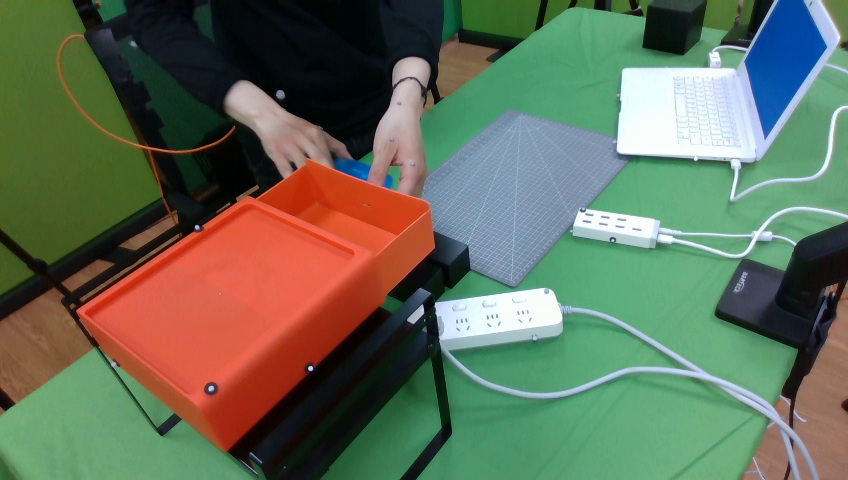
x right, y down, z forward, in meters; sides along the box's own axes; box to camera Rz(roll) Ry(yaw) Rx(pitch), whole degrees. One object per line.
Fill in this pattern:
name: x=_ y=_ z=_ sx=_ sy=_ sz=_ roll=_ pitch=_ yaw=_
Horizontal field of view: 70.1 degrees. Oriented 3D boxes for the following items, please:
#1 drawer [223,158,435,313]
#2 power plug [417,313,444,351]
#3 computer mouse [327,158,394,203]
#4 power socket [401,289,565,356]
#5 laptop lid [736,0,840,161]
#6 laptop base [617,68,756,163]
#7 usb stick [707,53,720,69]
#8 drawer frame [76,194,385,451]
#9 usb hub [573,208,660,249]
drawer: x=-0.126 y=0.012 z=0.656 sx=0.193 sy=0.073 sz=0.212 roll=23 pitch=49 yaw=30
power plug: x=0.007 y=0.127 z=0.786 sx=0.035 sy=0.053 sz=0.072 roll=1 pitch=43 yaw=9
computer mouse: x=-0.106 y=-0.091 z=0.917 sx=0.117 sy=0.041 sz=0.063 roll=15 pitch=44 yaw=14
power socket: x=0.081 y=0.112 z=0.822 sx=0.227 sy=0.033 sz=0.072 roll=-7 pitch=41 yaw=0
laptop lid: x=0.641 y=-0.327 z=1.090 sx=0.013 sy=0.242 sz=0.356 roll=17 pitch=43 yaw=5
laptop base: x=0.509 y=-0.255 z=1.201 sx=0.234 sy=0.023 sz=0.353 roll=4 pitch=41 yaw=16
usb stick: x=0.629 y=-0.382 z=1.313 sx=0.021 sy=0.027 sz=0.059 roll=2 pitch=45 yaw=17
drawer frame: x=-0.183 y=0.065 z=0.600 sx=0.200 sy=0.083 sz=0.214 roll=23 pitch=49 yaw=30
usb hub: x=0.302 y=-0.019 z=0.949 sx=0.124 sy=0.025 sz=0.049 roll=11 pitch=43 yaw=20
